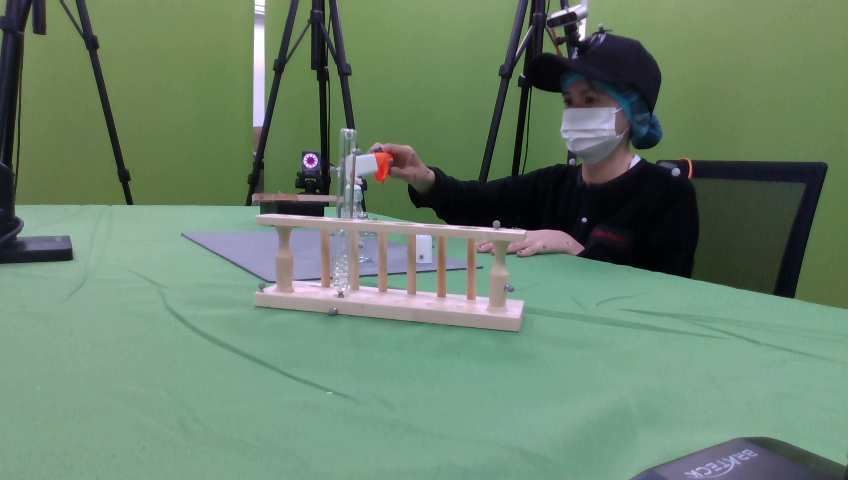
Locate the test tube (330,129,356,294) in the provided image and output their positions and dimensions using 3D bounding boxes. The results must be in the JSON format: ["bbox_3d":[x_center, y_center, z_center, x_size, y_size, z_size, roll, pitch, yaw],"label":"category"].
[{"bbox_3d":[-0.074,-0.025,0.548,0.017,0.150,0.017,4,6,0],"label":"test tube"}]

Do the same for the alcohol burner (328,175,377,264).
[{"bbox_3d":[-0.098,-0.028,0.819,0.078,0.119,0.078,1,8,0],"label":"alcohol burner"}]

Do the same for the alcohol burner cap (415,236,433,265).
[{"bbox_3d":[-0.004,0.011,0.835,0.034,0.048,0.034,2,8,0],"label":"alcohol burner cap"}]

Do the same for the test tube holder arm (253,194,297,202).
[{"bbox_3d":[-0.293,-0.083,1.193,0.088,0.015,0.010,-2,-1,-37],"label":"test tube holder arm"}]

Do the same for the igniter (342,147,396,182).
[{"bbox_3d":[-0.081,-0.119,0.963,0.025,0.057,0.277,-10,7,10],"label":"igniter"}]

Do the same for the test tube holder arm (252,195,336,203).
[{"bbox_3d":[-0.260,-0.084,1.224,0.179,0.015,0.013,-2,-1,-37],"label":"test tube holder arm"}]

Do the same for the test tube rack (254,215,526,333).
[{"bbox_3d":[-0.030,0.025,0.557,0.242,0.085,0.067,4,7,12],"label":"test tube rack"}]
